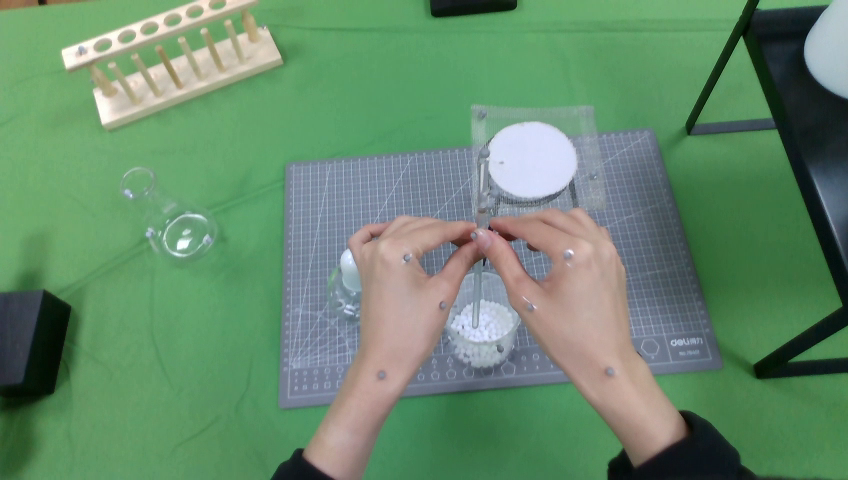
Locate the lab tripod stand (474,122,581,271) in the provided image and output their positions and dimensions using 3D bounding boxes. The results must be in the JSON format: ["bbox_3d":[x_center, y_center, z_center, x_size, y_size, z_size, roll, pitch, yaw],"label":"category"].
[{"bbox_3d":[0.100,-0.048,0.630,0.148,0.132,0.147,-1,63,2],"label":"lab tripod stand"}]

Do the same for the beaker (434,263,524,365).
[{"bbox_3d":[0.052,0.078,0.591,0.084,0.101,0.073,-17,64,-4],"label":"beaker"}]

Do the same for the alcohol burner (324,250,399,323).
[{"bbox_3d":[-0.064,0.039,0.608,0.078,0.120,0.077,0,63,1],"label":"alcohol burner"}]

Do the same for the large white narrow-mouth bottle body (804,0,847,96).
[{"bbox_3d":[0.384,-0.205,0.459,0.102,0.196,0.101,-1,63,2],"label":"large white narrow-mouth bottle body"}]

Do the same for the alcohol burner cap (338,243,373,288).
[{"bbox_3d":[-0.067,0.021,0.576,0.034,0.048,0.033,0,58,0],"label":"alcohol burner cap"}]

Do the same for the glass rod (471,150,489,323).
[{"bbox_3d":[0.041,0.009,0.444,0.008,0.201,0.008,-1,52,2],"label":"glass rod"}]

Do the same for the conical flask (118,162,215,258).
[{"bbox_3d":[-0.282,-0.036,0.654,0.075,0.123,0.074,-1,64,3],"label":"conical flask"}]

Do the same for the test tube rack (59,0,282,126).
[{"bbox_3d":[-0.316,-0.239,0.772,0.242,0.086,0.066,-24,66,-8],"label":"test tube rack"}]

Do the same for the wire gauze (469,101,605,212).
[{"bbox_3d":[0.104,-0.083,0.571,0.121,0.011,0.124,0,65,2],"label":"wire gauze"}]
